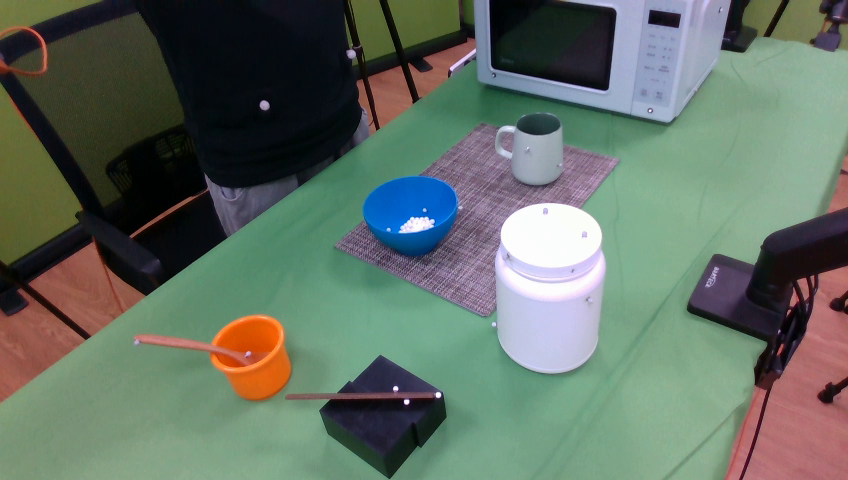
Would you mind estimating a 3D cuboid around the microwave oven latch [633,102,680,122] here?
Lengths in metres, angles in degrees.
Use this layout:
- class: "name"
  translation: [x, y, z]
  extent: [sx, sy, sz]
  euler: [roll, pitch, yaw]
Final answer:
- class: "microwave oven latch"
  translation: [0.444, -0.249, 1.157]
  extent: [0.078, 0.029, 0.030]
  euler: [21, 49, 30]

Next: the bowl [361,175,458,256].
- class: "bowl"
  translation: [-0.019, -0.029, 0.955]
  extent: [0.151, 0.077, 0.150]
  euler: [-4, 40, 3]

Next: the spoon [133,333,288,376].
- class: "spoon"
  translation: [-0.257, 0.137, 0.747]
  extent: [0.021, 0.195, 0.041]
  euler: [-46, 40, 23]

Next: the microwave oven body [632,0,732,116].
- class: "microwave oven body"
  translation: [0.377, -0.462, 1.267]
  extent: [0.438, 0.261, 0.327]
  euler: [21, 48, 30]

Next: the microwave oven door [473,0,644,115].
- class: "microwave oven door"
  translation: [0.257, -0.396, 1.199]
  extent: [0.353, 0.245, 0.039]
  euler: [21, 48, 29]

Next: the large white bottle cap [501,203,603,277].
- class: "large white bottle cap"
  translation: [0.146, -0.003, 0.693]
  extent: [0.115, 0.018, 0.114]
  euler: [-4, 41, 4]

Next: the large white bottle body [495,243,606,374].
- class: "large white bottle body"
  translation: [0.155, 0.061, 0.748]
  extent: [0.130, 0.185, 0.130]
  euler: [-4, 40, 4]

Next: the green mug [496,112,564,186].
- class: "green mug"
  translation: [0.184, -0.161, 1.061]
  extent: [0.124, 0.105, 0.092]
  euler: [15, 46, 24]

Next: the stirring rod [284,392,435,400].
- class: "stirring rod"
  translation: [-0.075, 0.180, 0.698]
  extent: [0.176, 0.006, 0.014]
  euler: [-2, 6, 6]
